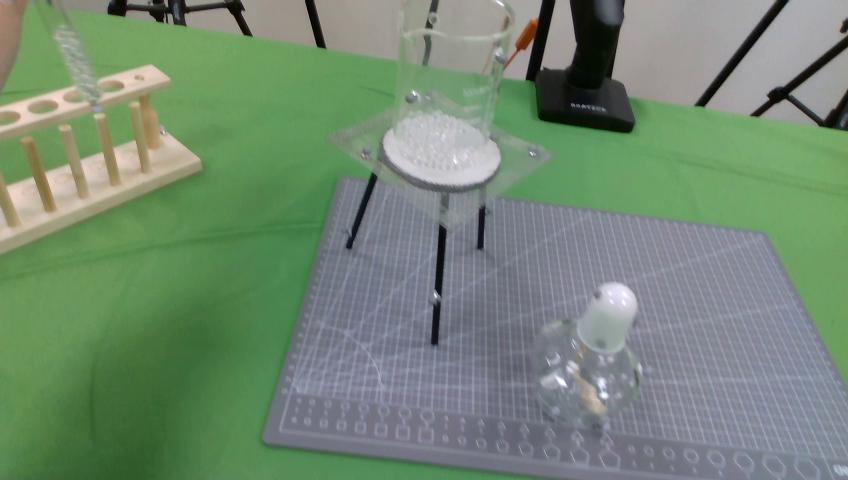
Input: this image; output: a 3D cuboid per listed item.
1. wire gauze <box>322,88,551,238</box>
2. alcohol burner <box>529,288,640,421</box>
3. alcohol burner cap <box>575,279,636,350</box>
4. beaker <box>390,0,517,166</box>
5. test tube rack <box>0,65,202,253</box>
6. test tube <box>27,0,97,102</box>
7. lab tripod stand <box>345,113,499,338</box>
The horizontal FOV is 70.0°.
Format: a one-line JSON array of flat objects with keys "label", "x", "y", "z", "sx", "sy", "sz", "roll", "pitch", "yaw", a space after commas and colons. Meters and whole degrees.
[{"label": "wire gauze", "x": 0.011, "y": -0.066, "z": 0.437, "sx": 0.124, "sy": 0.011, "sz": 0.121, "roll": 39, "pitch": 52, "yaw": 23}, {"label": "alcohol burner", "x": 0.116, "y": 0.072, "z": 0.418, "sx": 0.078, "sy": 0.120, "sz": 0.077, "roll": 6, "pitch": 42, "yaw": -5}, {"label": "alcohol burner cap", "x": 0.119, "y": 0.046, "z": 0.393, "sx": 0.034, "sy": 0.048, "sz": 0.033, "roll": 3, "pitch": 47, "yaw": -2}, {"label": "beaker", "x": 0.013, "y": -0.107, "z": 0.407, "sx": 0.084, "sy": 0.101, "sz": 0.073, "roll": -26, "pitch": 54, "yaw": -30}, {"label": "test tube rack", "x": -0.319, "y": -0.064, "z": 0.512, "sx": 0.066, "sy": 0.086, "sz": 0.242, "roll": 36, "pitch": 48, "yaw": 26}, {"label": "test tube", "x": -0.236, "y": -0.153, "z": 0.370, "sx": 0.017, "sy": 0.151, "sz": 0.017, "roll": -2, "pitch": 43, "yaw": 2}, {"label": "lab tripod stand", "x": 0.005, "y": -0.018, "z": 0.481, "sx": 0.148, "sy": 0.132, "sz": 0.147, "roll": 6, "pitch": 43, "yaw": -6}]
